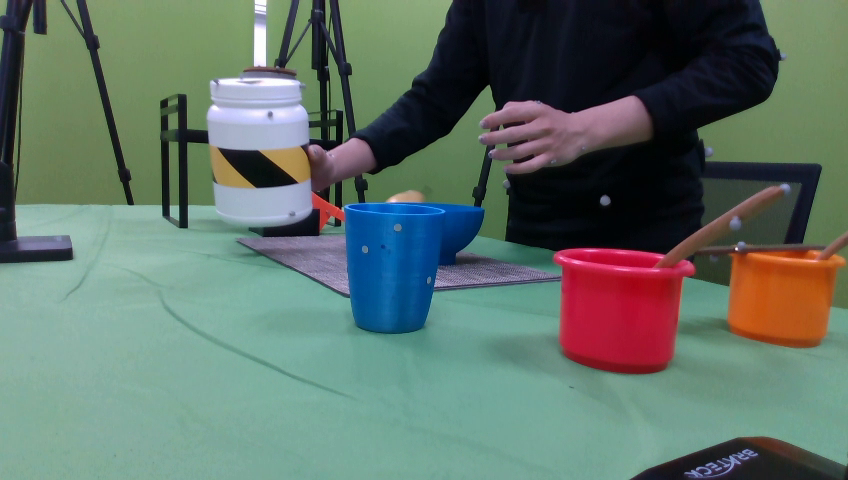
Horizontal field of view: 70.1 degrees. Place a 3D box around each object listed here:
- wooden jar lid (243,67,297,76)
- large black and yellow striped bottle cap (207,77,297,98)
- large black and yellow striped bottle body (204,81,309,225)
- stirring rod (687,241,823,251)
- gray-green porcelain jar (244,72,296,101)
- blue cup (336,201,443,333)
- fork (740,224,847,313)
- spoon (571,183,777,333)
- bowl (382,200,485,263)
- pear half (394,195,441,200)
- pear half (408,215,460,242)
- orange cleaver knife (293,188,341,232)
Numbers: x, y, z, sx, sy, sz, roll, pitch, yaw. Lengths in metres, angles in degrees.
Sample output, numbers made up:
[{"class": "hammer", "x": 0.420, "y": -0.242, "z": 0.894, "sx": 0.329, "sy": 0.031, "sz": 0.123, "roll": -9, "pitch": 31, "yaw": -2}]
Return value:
[{"class": "wooden jar lid", "x": -0.319, "y": -0.342, "z": 1.254, "sx": 0.108, "sy": 0.020, "sz": 0.108, "roll": 3, "pitch": 8, "yaw": 0}, {"class": "large black and yellow striped bottle cap", "x": -0.228, "y": -0.204, "z": 0.805, "sx": 0.115, "sy": 0.019, "sz": 0.115, "roll": 2, "pitch": 20, "yaw": 0}, {"class": "large black and yellow striped bottle body", "x": -0.229, "y": -0.125, "z": 0.831, "sx": 0.131, "sy": 0.184, "sz": 0.130, "roll": 1, "pitch": 19, "yaw": 0}, {"class": "stirring rod", "x": 0.289, "y": 0.005, "z": 0.525, "sx": 0.177, "sy": 0.006, "sz": 0.014, "roll": -1, "pitch": 5, "yaw": -26}, {"class": "gray-green porcelain jar", "x": -0.322, "y": -0.279, "z": 1.263, "sx": 0.106, "sy": 0.126, "sz": 0.106, "roll": 3, "pitch": 8, "yaw": 0}, {"class": "blue cup", "x": -0.029, "y": 0.021, "z": 0.508, "sx": 0.093, "sy": 0.100, "sz": 0.092, "roll": 3, "pitch": 9, "yaw": 0}, {"class": "fork", "x": 0.323, "y": 0.013, "z": 0.485, "sx": 0.028, "sy": 0.018, "sz": 0.207, "roll": 8, "pitch": -37, "yaw": -6}, {"class": "spoon", "x": 0.161, "y": 0.020, "z": 0.413, "sx": 0.042, "sy": 0.021, "sz": 0.193, "roll": 1, "pitch": -36, "yaw": -24}, {"class": "bowl", "x": 0.008, "y": -0.012, "z": 0.842, "sx": 0.151, "sy": 0.077, "sz": 0.151, "roll": 2, "pitch": 8, "yaw": 0}, {"class": "pear half", "x": -0.015, "y": -0.045, "z": 1.076, "sx": 0.110, "sy": 0.055, "sz": 0.076, "roll": -30, "pitch": -36, "yaw": 10}, {"class": "pear half", "x": 0.011, "y": -0.019, "z": 0.848, "sx": 0.070, "sy": 0.031, "sz": 0.088, "roll": 5, "pitch": 12, "yaw": 33}, {"class": "orange cleaver knife", "x": -0.201, "y": -0.056, "z": 1.136, "sx": 0.212, "sy": 0.077, "sz": 0.012, "roll": 31, "pitch": -4, "yaw": -31}]
